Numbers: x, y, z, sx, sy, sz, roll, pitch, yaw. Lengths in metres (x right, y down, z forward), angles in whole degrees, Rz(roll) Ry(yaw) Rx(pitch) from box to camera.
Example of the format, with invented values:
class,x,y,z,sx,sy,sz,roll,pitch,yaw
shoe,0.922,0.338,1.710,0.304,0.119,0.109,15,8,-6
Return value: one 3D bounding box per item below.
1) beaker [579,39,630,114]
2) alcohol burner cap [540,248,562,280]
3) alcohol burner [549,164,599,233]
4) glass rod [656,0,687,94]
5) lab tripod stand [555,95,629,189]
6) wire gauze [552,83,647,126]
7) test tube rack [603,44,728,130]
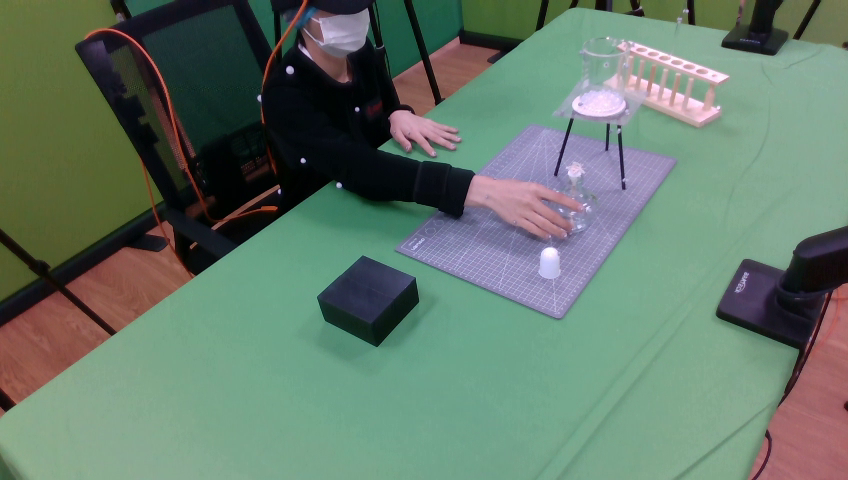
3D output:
class,x,y,z,sx,sy,sz,roll,pitch,yaw
beaker,0.289,-0.263,0.975,0.073,0.101,0.084,17,45,27
alcohol burner cap,0.187,0.032,0.888,0.034,0.048,0.033,-4,40,4
alcohol burner,0.235,-0.069,0.946,0.078,0.119,0.077,-4,41,4
glass rod,0.491,-0.381,1.199,0.008,0.200,0.008,1,41,0
lab tripod stand,0.300,-0.174,1.045,0.148,0.132,0.147,-5,38,5
wire gauze,0.293,-0.224,1.004,0.120,0.011,0.125,19,43,26
test tube rack,0.480,-0.316,1.227,0.067,0.085,0.240,-28,44,-22
